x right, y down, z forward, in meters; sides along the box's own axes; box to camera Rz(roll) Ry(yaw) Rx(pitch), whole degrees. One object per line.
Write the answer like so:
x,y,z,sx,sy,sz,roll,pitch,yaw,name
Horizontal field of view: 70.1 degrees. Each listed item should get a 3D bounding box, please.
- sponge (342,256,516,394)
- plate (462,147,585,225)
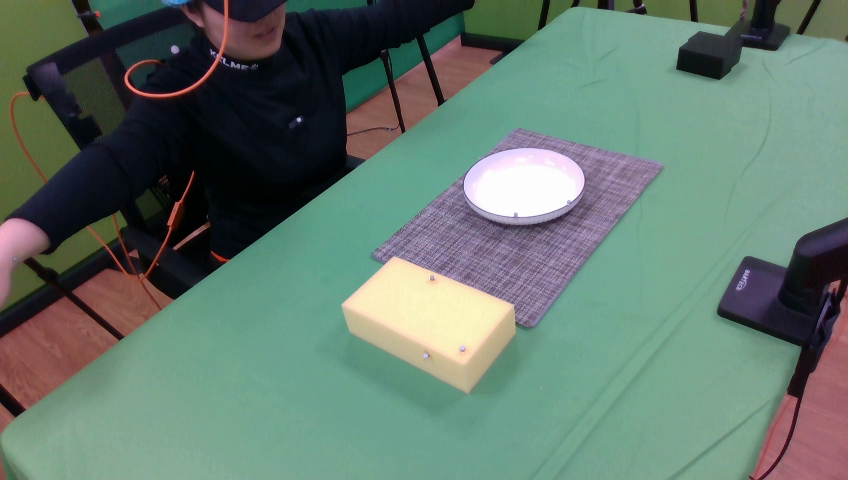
0.006,0.109,0.827,0.205,0.061,0.118,20,48,30,sponge
0.170,-0.089,1.041,0.207,0.039,0.206,-5,40,5,plate
